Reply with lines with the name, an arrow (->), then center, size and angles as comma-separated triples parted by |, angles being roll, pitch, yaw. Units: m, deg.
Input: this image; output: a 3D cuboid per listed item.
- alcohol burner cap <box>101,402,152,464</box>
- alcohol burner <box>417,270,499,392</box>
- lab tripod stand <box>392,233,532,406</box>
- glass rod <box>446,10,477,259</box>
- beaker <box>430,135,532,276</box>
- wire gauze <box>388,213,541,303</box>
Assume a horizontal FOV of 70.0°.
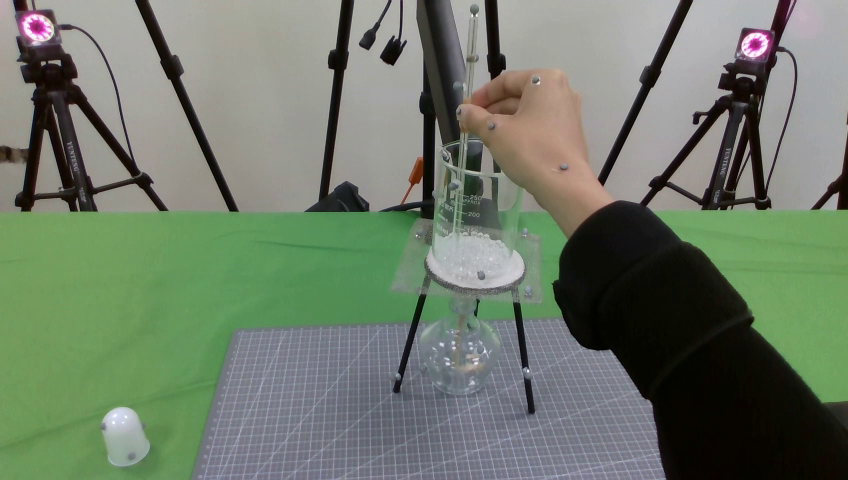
alcohol burner cap -> -0.244, 0.154, 0.492 | 0.034, 0.048, 0.033 | 1, 30, 0
alcohol burner -> 0.033, 0.080, 0.561 | 0.078, 0.120, 0.077 | 1, 29, 0
lab tripod stand -> 0.044, 0.072, 0.557 | 0.148, 0.132, 0.147 | 4, 30, -2
glass rod -> 0.027, -0.071, 0.465 | 0.008, 0.201, 0.008 | 3, 31, -1
beaker -> 0.041, -0.028, 0.501 | 0.083, 0.101, 0.074 | 28, 38, 35
wire gauze -> 0.040, 0.015, 0.524 | 0.121, 0.011, 0.124 | 6, 33, 7
